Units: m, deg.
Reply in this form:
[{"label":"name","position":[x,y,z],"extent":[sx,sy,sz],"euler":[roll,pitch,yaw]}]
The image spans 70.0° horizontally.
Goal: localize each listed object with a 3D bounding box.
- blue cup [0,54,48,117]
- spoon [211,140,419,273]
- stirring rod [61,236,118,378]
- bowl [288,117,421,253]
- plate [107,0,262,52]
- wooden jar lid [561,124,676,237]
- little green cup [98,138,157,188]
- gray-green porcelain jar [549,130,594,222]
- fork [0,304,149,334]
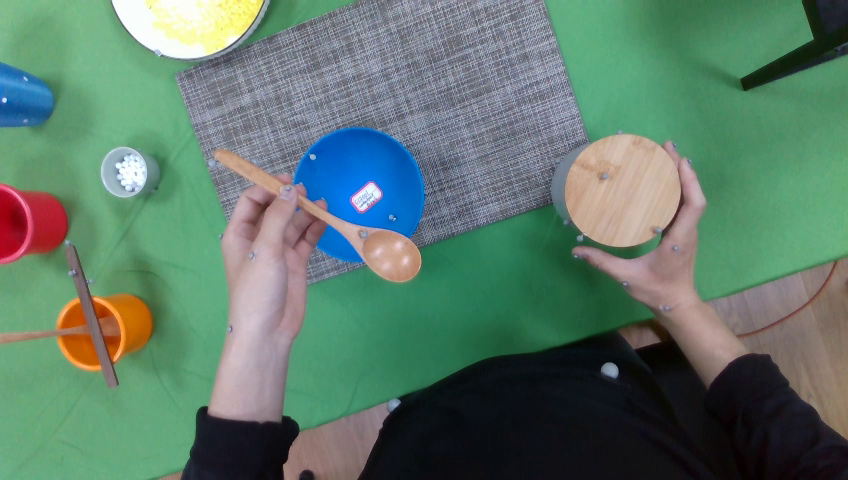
[{"label":"blue cup","position":[-0.516,-0.186,0.730],"extent":[0.092,0.100,0.093],"euler":[1,96,8]},{"label":"spoon","position":[-0.090,-0.031,0.508],"extent":[0.194,0.021,0.041],"euler":[31,95,-13]},{"label":"stirring rod","position":[-0.395,0.080,0.716],"extent":[0.014,0.006,0.176],"euler":[-16,94,6]},{"label":"bowl","position":[-0.073,-0.063,0.701],"extent":[0.151,0.077,0.151],"euler":[1,96,7]},{"label":"plate","position":[-0.281,-0.328,0.722],"extent":[0.209,0.038,0.209],"euler":[1,96,6]},{"label":"wooden jar lid","position":[0.187,-0.057,0.587],"extent":[0.108,0.020,0.108],"euler":[0,97,4]},{"label":"little green cup","position":[-0.366,-0.094,0.754],"extent":[0.061,0.038,0.061],"euler":[1,96,7]},{"label":"gray-green porcelain jar","position":[0.191,-0.065,0.648],"extent":[0.106,0.126,0.106],"euler":[0,98,4]},{"label":"fork","position":[-0.443,0.099,0.726],"extent":[0.208,0.018,0.028],"euler":[-3,99,-37]}]
